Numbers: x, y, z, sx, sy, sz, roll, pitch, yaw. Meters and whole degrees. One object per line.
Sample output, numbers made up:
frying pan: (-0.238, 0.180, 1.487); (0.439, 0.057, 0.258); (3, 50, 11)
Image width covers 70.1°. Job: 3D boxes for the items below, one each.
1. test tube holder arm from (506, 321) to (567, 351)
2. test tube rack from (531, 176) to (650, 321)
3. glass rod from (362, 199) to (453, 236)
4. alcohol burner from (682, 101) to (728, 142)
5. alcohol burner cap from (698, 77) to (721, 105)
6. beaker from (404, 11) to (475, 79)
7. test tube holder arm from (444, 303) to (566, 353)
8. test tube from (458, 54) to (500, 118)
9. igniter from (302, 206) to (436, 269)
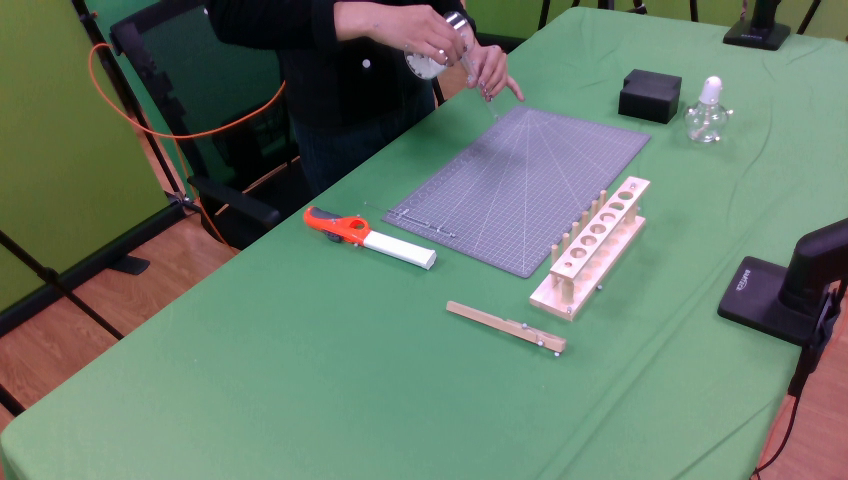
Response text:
test tube holder arm: (0.148, 0.128, 0.808); (0.087, 0.015, 0.010); (16, 10, 28)
test tube rack: (0.246, 0.002, 0.884); (0.066, 0.085, 0.243); (22, 49, 32)
glass rod: (-0.032, -0.041, 1.041); (0.198, 0.008, 0.008); (22, 50, 31)
alcohol burner: (0.513, -0.239, 1.097); (0.078, 0.119, 0.077); (-4, 40, 4)
alcohol burner cap: (0.509, -0.266, 1.072); (0.034, 0.048, 0.033); (-4, 48, 5)
beaker: (0.024, -0.314, 0.988); (0.100, 0.084, 0.073); (-40, 45, -25)
test tube holder arm: (0.106, 0.117, 0.823); (0.177, 0.015, 0.013); (16, 10, 27)
test tube: (0.101, -0.272, 1.082); (0.017, 0.151, 0.017); (-19, 48, 22)
igniter: (-0.101, -0.007, 1.005); (0.274, 0.025, 0.057); (19, 58, 29)
